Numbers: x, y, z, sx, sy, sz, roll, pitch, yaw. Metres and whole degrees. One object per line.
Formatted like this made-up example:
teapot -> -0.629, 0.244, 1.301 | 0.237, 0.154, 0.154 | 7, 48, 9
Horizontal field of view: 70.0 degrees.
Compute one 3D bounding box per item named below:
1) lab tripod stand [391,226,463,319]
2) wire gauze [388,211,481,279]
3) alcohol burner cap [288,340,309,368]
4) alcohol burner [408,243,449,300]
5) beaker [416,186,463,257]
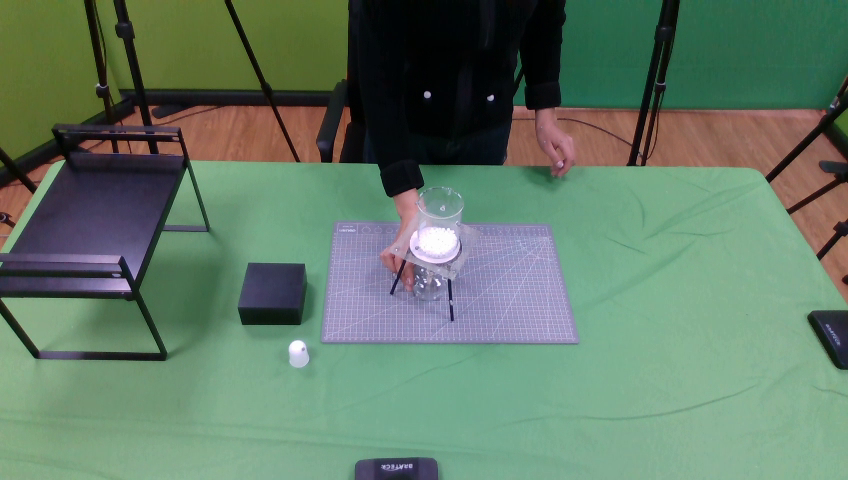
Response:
lab tripod stand -> 0.014, 0.053, 1.063 | 0.148, 0.132, 0.147 | 1, 48, -1
wire gauze -> 0.018, 0.003, 1.020 | 0.125, 0.011, 0.121 | 20, 47, 18
alcohol burner cap -> -0.207, 0.183, 0.991 | 0.034, 0.048, 0.033 | 3, 47, -2
alcohol burner -> 0.010, 0.052, 1.077 | 0.078, 0.120, 0.077 | 1, 46, -1
beaker -> 0.024, -0.029, 0.984 | 0.074, 0.101, 0.083 | 19, 48, 14
